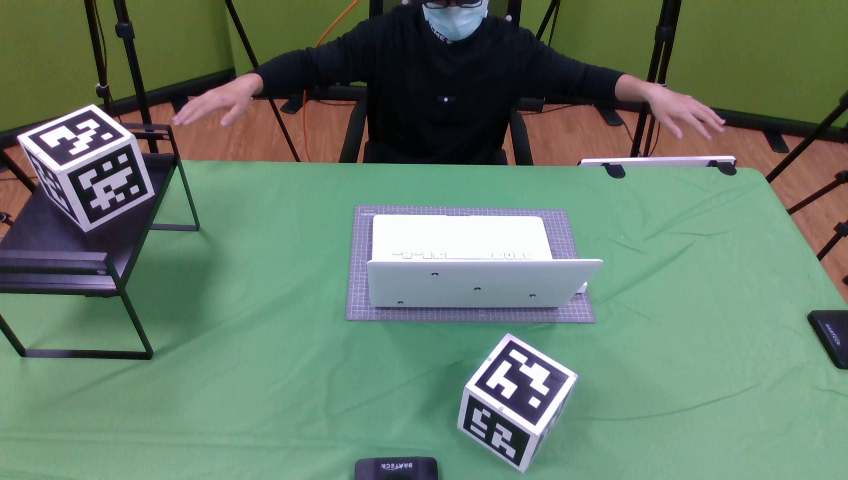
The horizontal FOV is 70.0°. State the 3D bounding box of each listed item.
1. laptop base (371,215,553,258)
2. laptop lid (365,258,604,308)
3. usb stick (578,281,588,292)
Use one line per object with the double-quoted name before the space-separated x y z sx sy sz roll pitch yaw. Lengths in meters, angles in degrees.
"laptop base" 0.075 0.037 1.167 0.355 0.023 0.234 0 43 -4
"laptop lid" 0.085 0.074 0.978 0.357 0.242 0.013 1 67 -5
"usb stick" 0.271 0.082 1.119 0.059 0.027 0.021 -2 47 -1
